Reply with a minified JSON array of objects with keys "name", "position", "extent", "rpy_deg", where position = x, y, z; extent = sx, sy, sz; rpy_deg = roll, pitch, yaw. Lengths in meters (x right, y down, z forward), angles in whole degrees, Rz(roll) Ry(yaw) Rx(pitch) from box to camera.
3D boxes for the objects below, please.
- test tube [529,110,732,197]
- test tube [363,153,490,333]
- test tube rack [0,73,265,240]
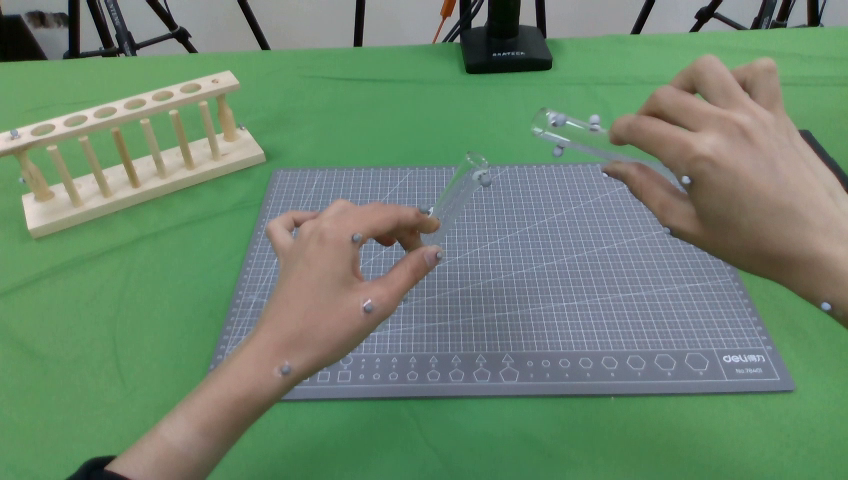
[{"name":"test tube","position":[0.125,-0.047,0.351],"extent":[0.151,0.017,0.017],"rpy_deg":[12,36,-26]},{"name":"test tube","position":[-0.003,0.008,0.375],"extent":[0.017,0.151,0.017],"rpy_deg":[22,34,-16]},{"name":"test tube rack","position":[-0.301,-0.093,0.638],"extent":[0.243,0.086,0.066],"rpy_deg":[-23,47,-22]}]
